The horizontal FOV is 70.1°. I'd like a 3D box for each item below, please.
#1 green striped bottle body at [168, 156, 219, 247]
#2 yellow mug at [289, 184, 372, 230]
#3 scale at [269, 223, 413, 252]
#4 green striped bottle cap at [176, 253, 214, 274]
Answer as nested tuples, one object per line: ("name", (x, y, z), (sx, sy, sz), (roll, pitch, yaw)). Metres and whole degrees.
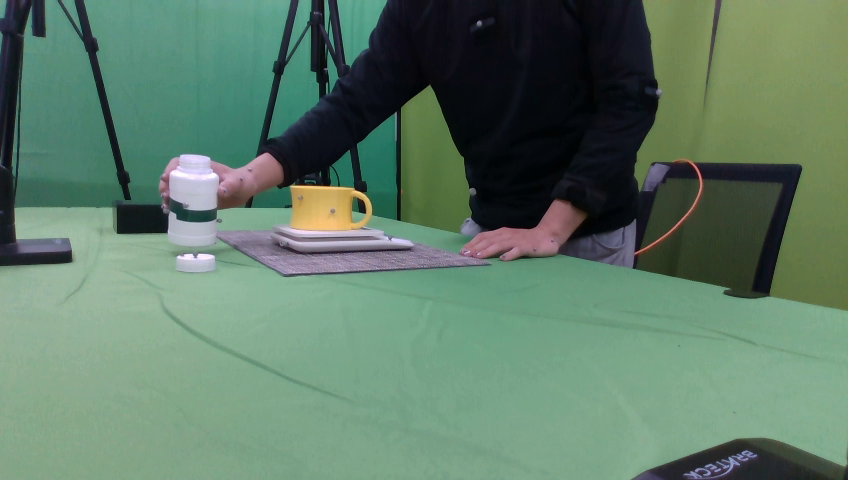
("green striped bottle body", (-0.318, -0.054, 0.833), (0.063, 0.119, 0.063), (8, 14, -2))
("yellow mug", (-0.145, -0.052, 0.944), (0.131, 0.064, 0.100), (4, 7, 9))
("scale", (-0.132, -0.007, 0.965), (0.202, 0.031, 0.148), (-2, 8, -31))
("green striped bottle cap", (-0.280, 0.029, 0.740), (0.044, 0.020, 0.044), (6, 4, 0))
